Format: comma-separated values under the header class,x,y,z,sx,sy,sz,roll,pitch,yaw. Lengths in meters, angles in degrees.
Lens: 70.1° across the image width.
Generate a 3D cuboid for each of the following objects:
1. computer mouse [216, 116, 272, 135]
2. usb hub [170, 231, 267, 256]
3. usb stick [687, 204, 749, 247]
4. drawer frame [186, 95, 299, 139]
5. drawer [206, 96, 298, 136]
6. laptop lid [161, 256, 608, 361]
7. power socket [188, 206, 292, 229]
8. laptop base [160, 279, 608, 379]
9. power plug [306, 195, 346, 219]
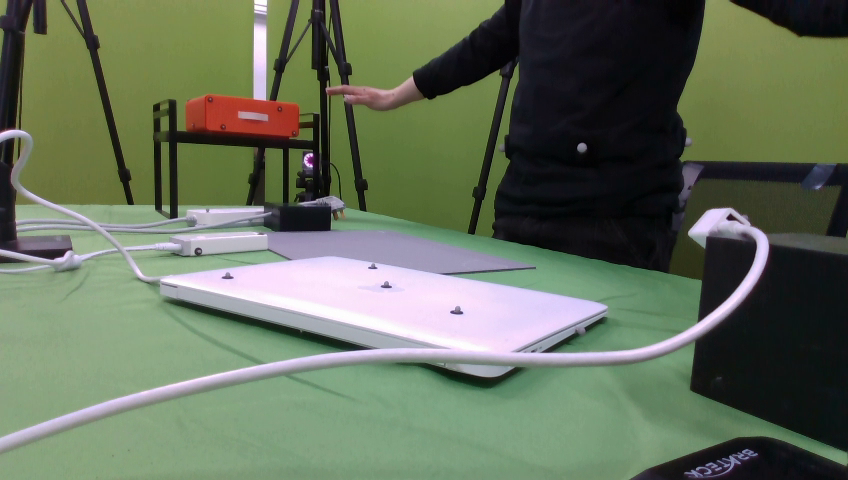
class,x,y,z,sx,sy,sz,roll,pitch,yaw
computer mouse,-0.402,-0.257,1.353,0.118,0.041,0.062,-5,14,-35
usb hub,-0.290,0.004,0.862,0.049,0.025,0.126,10,11,42
usb stick,0.214,-0.010,0.448,0.021,0.027,0.059,39,2,7
drawer frame,-0.417,-0.277,1.378,0.203,0.082,0.212,-3,8,-32
drawer,-0.414,-0.275,1.376,0.195,0.073,0.210,-3,9,-31
laptop lid,-0.037,0.046,0.556,0.355,0.013,0.243,8,8,35
power socket,-0.363,-0.048,1.209,0.072,0.032,0.228,7,9,36
laptop base,-0.038,0.059,0.555,0.352,0.023,0.237,7,7,33
power plug,-0.192,-0.061,1.199,0.073,0.052,0.035,-17,-7,-9
